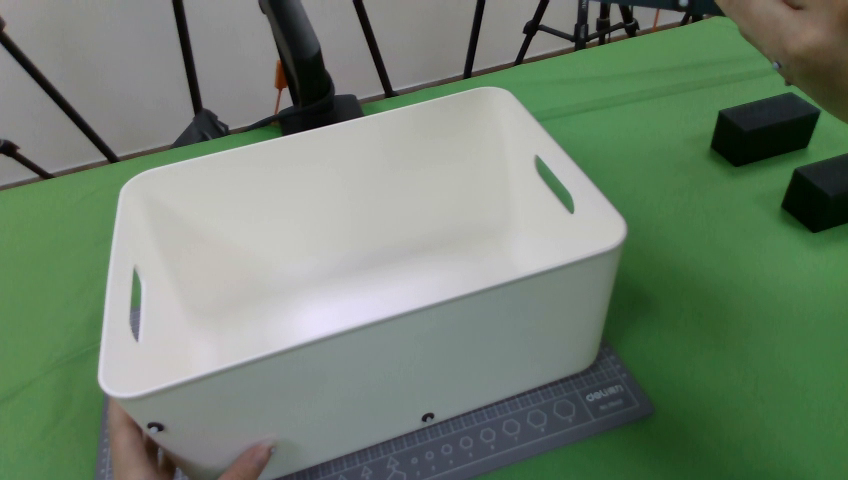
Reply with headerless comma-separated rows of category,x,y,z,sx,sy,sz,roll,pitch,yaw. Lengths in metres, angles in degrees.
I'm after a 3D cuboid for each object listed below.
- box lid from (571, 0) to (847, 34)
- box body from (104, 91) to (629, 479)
box lid,0.266,-0.183,0.411,0.370,0.015,0.261,12,38,10
box body,-0.048,0.032,0.527,0.364,0.162,0.251,-16,42,-9
